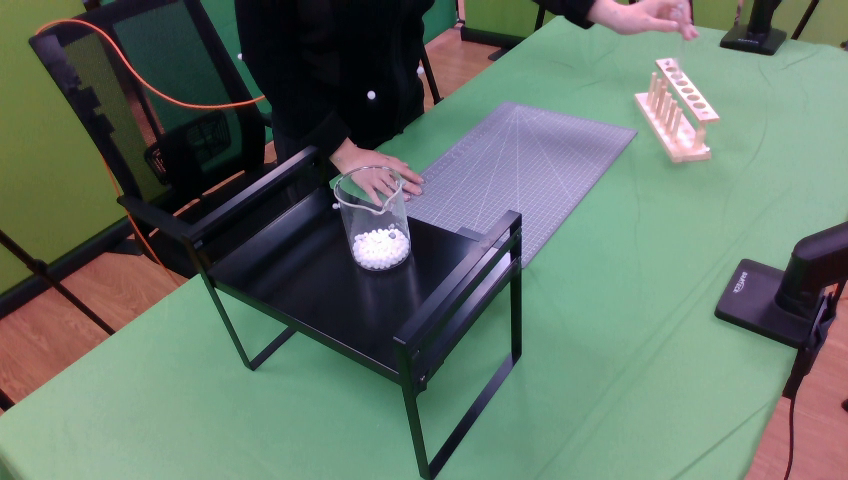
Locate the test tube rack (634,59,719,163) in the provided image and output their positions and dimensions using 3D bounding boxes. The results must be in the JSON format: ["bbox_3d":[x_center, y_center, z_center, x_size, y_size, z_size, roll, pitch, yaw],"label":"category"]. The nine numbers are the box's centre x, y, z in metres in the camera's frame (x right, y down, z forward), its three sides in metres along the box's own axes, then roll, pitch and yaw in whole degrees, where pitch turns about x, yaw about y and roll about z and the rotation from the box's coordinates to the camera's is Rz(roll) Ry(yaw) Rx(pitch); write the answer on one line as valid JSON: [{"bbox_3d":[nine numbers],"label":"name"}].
[{"bbox_3d":[0.470,-0.250,1.148,0.067,0.085,0.241,-6,40,3],"label":"test tube rack"}]

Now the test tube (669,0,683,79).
[{"bbox_3d":[0.427,-0.344,1.024,0.017,0.151,0.017,-9,36,7],"label":"test tube"}]

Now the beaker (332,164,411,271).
[{"bbox_3d":[-0.053,-0.020,0.669,0.074,0.101,0.083,-19,42,-12],"label":"beaker"}]
